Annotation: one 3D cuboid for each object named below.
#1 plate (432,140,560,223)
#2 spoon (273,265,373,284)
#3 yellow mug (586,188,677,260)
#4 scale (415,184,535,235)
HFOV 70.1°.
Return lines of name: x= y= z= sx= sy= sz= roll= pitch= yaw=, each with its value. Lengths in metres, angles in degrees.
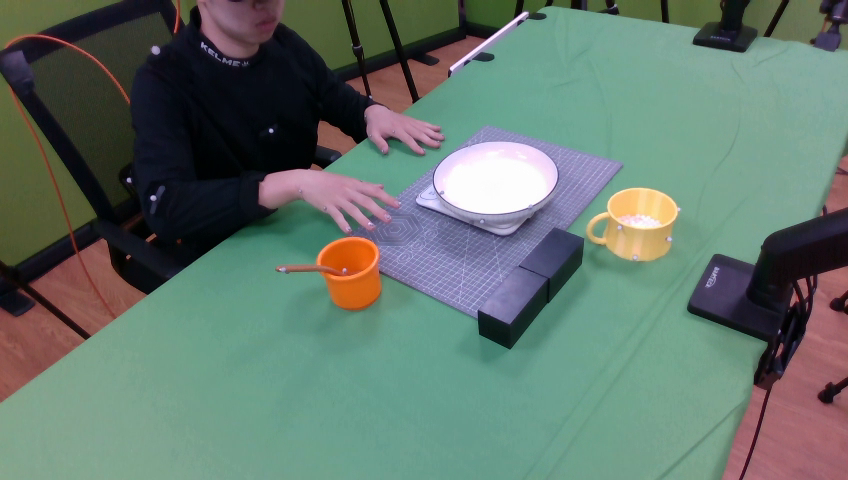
plate: x=0.118 y=-0.094 z=0.999 sx=0.209 sy=0.038 sz=0.208 roll=-5 pitch=41 yaw=4
spoon: x=-0.136 y=0.045 z=0.839 sx=0.041 sy=0.195 sz=0.021 roll=18 pitch=91 yaw=33
yellow mug: x=0.311 y=-0.022 z=0.916 sx=0.131 sy=0.064 sz=0.099 roll=-8 pitch=40 yaw=0
scale: x=0.099 y=-0.080 z=1.035 sx=0.199 sy=0.032 sz=0.149 roll=23 pitch=48 yaw=31
